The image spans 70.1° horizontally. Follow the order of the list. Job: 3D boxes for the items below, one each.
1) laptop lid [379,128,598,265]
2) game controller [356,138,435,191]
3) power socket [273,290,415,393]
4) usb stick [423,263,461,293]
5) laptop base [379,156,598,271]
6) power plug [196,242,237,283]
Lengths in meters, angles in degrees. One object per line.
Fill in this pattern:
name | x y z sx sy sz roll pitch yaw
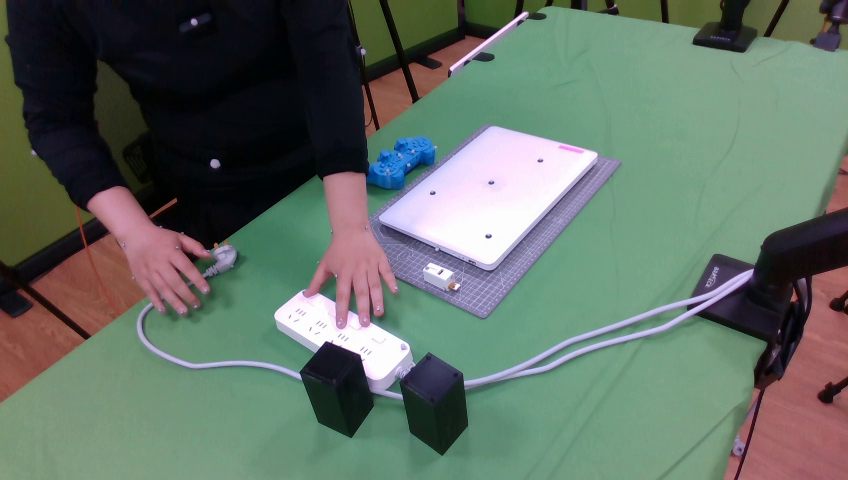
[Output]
laptop lid | 0.117 -0.095 1.048 0.239 0.013 0.358 23 49 34
game controller | -0.049 -0.150 1.136 0.096 0.052 0.155 27 51 28
power socket | -0.115 0.133 0.820 0.225 0.033 0.072 24 47 32
usb stick | 0.028 0.058 0.889 0.059 0.027 0.021 25 47 29
laptop base | 0.120 -0.085 1.054 0.233 0.023 0.355 21 48 34
power plug | -0.336 0.031 0.968 0.073 0.035 0.052 -18 57 -30
